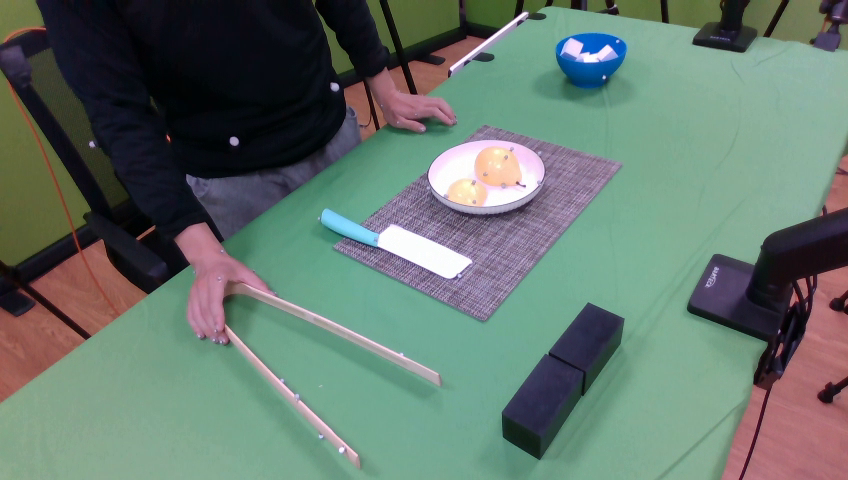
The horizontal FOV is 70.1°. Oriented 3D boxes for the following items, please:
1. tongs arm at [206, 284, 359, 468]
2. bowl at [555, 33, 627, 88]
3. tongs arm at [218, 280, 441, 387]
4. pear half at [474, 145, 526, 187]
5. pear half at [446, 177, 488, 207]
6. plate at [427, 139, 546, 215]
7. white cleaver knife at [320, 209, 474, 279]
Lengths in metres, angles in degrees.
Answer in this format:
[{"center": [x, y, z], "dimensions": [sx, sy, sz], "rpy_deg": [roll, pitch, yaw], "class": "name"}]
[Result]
[{"center": [-0.193, 0.162, 0.796], "dimensions": [0.381, 0.026, 0.051], "rpy_deg": [29, 52, 36], "class": "tongs arm"}, {"center": [0.360, -0.384, 1.318], "dimensions": [0.151, 0.077, 0.150], "rpy_deg": [-4, 41, 4], "class": "bowl"}, {"center": [-0.142, 0.122, 0.838], "dimensions": [0.385, 0.028, 0.028], "rpy_deg": [19, 50, 28], "class": "tongs arm"}, {"center": [0.140, -0.129, 1.059], "dimensions": [0.076, 0.056, 0.109], "rpy_deg": [-37, 52, -25], "class": "pear half"}, {"center": [0.073, -0.086, 1.032], "dimensions": [0.070, 0.031, 0.087], "rpy_deg": [-20, 37, -9], "class": "pear half"}, {"center": [0.109, -0.106, 1.058], "dimensions": [0.207, 0.039, 0.206], "rpy_deg": [-4, 40, 4], "class": "plate"}, {"center": [-0.053, 0.001, 0.978], "dimensions": [0.284, 0.021, 0.066], "rpy_deg": [23, 39, 26], "class": "white cleaver knife"}]
